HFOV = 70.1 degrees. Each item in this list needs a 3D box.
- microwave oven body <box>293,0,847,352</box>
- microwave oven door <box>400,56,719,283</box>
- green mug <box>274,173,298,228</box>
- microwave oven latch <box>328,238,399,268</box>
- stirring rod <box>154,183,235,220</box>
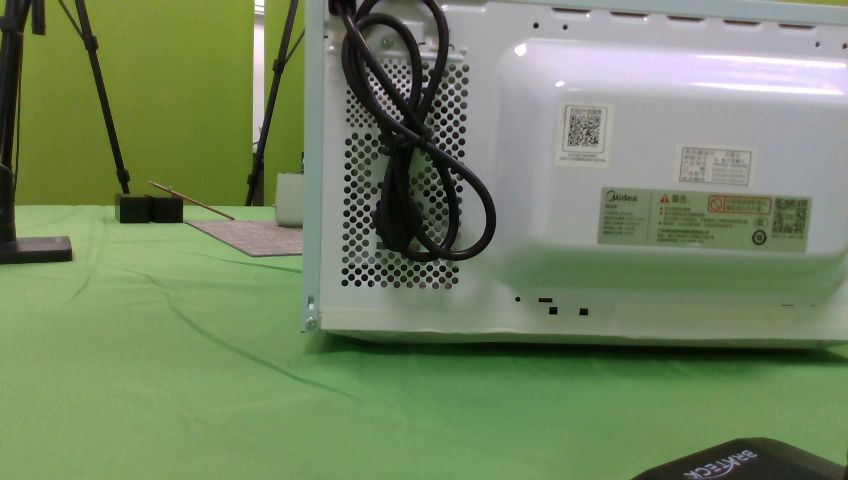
[{"bbox_3d":[0.122,-0.055,0.550,0.442,0.260,0.325,3,7,-5],"label":"microwave oven body"},{"bbox_3d":[0.155,-0.077,0.697,0.356,0.243,0.039,2,8,-5],"label":"microwave oven door"},{"bbox_3d":[-0.242,-0.081,1.221,0.092,0.105,0.126,8,9,40],"label":"green mug"},{"bbox_3d":[-0.069,0.015,0.694,0.079,0.029,0.030,3,7,-3],"label":"microwave oven latch"},{"bbox_3d":[-0.472,-0.079,1.252,0.177,0.006,0.014,27,4,-35],"label":"stirring rod"}]
